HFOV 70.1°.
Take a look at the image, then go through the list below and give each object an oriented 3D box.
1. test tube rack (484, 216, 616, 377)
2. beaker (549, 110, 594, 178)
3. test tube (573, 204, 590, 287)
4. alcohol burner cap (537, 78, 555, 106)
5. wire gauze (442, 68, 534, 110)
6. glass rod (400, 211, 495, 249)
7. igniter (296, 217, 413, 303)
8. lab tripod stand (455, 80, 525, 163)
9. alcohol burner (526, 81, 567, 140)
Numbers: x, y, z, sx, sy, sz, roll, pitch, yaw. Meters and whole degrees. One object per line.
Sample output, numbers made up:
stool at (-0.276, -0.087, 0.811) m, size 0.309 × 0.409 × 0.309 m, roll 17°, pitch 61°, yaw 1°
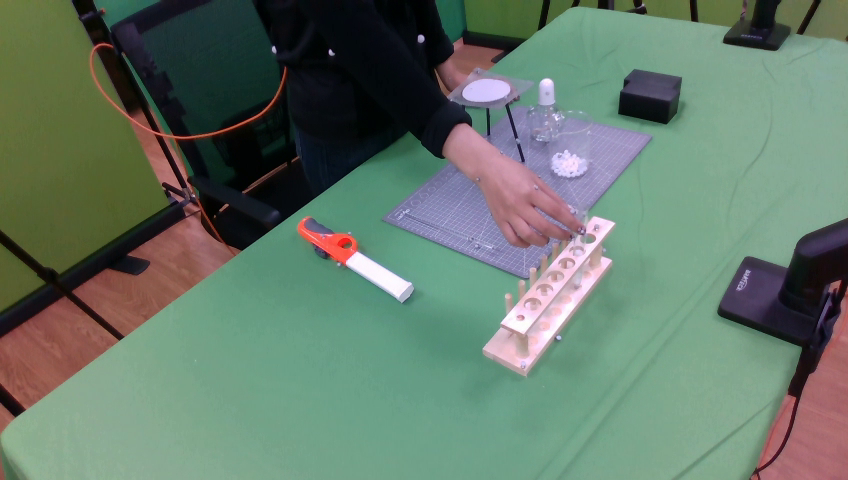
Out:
test tube rack at (0.174, 0.065, 0.823) m, size 0.066 × 0.085 × 0.243 m, roll 23°, pitch 49°, yaw 33°
beaker at (0.256, -0.165, 1.063) m, size 0.084 × 0.101 × 0.073 m, roll -36°, pitch 46°, yaw -27°
test tube at (0.209, 0.011, 0.803) m, size 0.017 × 0.151 × 0.017 m, roll -5°, pitch 45°, yaw 6°
alcohol burner cap at (0.229, -0.279, 1.136) m, size 0.034 × 0.048 × 0.033 m, roll -6°, pitch 33°, yaw 4°
wire gauze at (0.115, -0.269, 1.081) m, size 0.120 × 0.011 × 0.125 m, roll 21°, pitch 48°, yaw 29°
glass rod at (0.035, -0.018, 1.001) m, size 0.198 × 0.008 × 0.008 m, roll 21°, pitch 49°, yaw 35°
igniter at (-0.121, 0.025, 0.970) m, size 0.274 × 0.025 × 0.057 m, roll 30°, pitch 63°, yaw 37°
lab tripod stand at (0.121, -0.219, 1.126) m, size 0.148 × 0.132 × 0.147 m, roll -4°, pitch 40°, yaw 4°
alcohol burner at (0.235, -0.252, 1.159) m, size 0.078 × 0.119 × 0.077 m, roll -4°, pitch 42°, yaw 4°
